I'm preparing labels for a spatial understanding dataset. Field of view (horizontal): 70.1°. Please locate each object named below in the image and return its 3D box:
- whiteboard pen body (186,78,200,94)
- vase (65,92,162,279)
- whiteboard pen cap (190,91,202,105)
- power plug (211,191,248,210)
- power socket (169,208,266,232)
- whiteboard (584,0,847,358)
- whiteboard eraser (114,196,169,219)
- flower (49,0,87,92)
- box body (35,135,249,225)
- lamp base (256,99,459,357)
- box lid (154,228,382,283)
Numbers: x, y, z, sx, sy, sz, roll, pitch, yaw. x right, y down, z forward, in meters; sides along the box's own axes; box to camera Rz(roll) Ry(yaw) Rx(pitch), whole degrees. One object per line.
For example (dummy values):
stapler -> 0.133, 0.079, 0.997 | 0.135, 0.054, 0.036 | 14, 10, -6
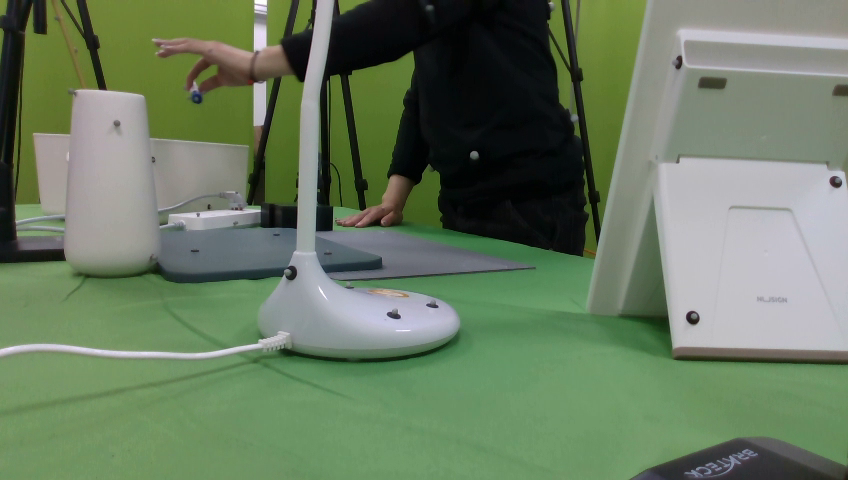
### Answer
whiteboard pen body -> -0.402, -0.261, 1.055 | 0.017, 0.017, 0.140 | -1, 26, -26
vase -> -0.348, -0.060, 0.673 | 0.098, 0.200, 0.098 | 1, 7, 0
whiteboard pen cap -> -0.380, -0.237, 1.007 | 0.018, 0.018, 0.033 | -1, 27, -25
power plug -> -0.384, -0.071, 1.206 | 0.072, 0.052, 0.035 | 1, 7, 27
power socket -> -0.379, -0.038, 1.129 | 0.072, 0.032, 0.227 | 4, 8, 18
whiteboard -> 0.269, -0.034, 0.466 | 0.217, 0.305, 0.143 | 2, 27, -1
whiteboard eraser -> -0.546, -0.063, 1.174 | 0.055, 0.042, 0.112 | 5, 5, 4
flower -> -0.361, -0.141, 0.659 | 0.038, 0.361, 0.044 | -13, 11, 11
box body -> -0.561, -0.127, 1.258 | 0.254, 0.160, 0.365 | 4, 8, 13
lamp base -> -0.055, -0.013, 0.463 | 0.160, 0.180, 0.180 | 6, 11, 27
box lid -> -0.250, 0.013, 0.853 | 0.265, 0.015, 0.369 | -3, 9, -32
